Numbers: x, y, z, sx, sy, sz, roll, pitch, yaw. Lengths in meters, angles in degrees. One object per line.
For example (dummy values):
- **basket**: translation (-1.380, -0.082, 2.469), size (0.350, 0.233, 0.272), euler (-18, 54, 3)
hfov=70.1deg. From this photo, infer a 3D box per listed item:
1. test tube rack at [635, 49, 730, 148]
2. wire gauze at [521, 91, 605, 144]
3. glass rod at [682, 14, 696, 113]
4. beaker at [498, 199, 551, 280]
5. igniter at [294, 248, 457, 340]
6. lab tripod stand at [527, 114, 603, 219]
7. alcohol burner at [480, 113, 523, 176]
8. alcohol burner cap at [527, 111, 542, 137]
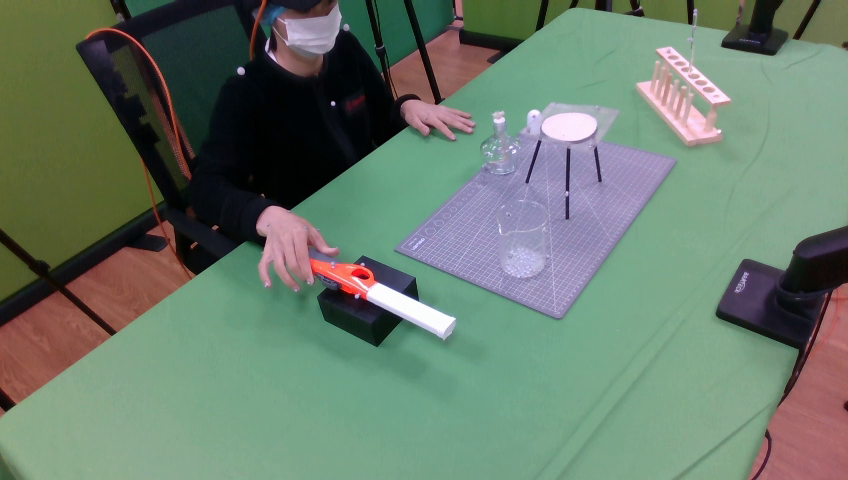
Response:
- **test tube rack**: translation (0.497, -0.283, 1.185), size (0.067, 0.085, 0.240), euler (-10, 40, -2)
- **wire gauze**: translation (0.219, -0.191, 0.948), size (0.121, 0.011, 0.125), euler (8, 49, 13)
- **glass rod**: translation (0.495, -0.326, 1.132), size (0.008, 0.201, 0.008), euler (-8, 42, 8)
- **beaker**: translation (0.144, 0.003, 0.884), size (0.073, 0.101, 0.084), euler (28, 52, 36)
- **igniter**: translation (-0.077, 0.068, 0.831), size (0.274, 0.025, 0.057), euler (22, 43, 27)
- **lab tripod stand**: translation (0.234, -0.129, 1.002), size (0.148, 0.132, 0.147), euler (-6, 40, 6)
- **alcohol burner**: translation (0.139, -0.176, 1.089), size (0.078, 0.119, 0.077), euler (-5, 42, 5)
- **alcohol burner cap**: translation (0.220, -0.233, 1.200), size (0.034, 0.048, 0.033), euler (-5, 41, 5)
